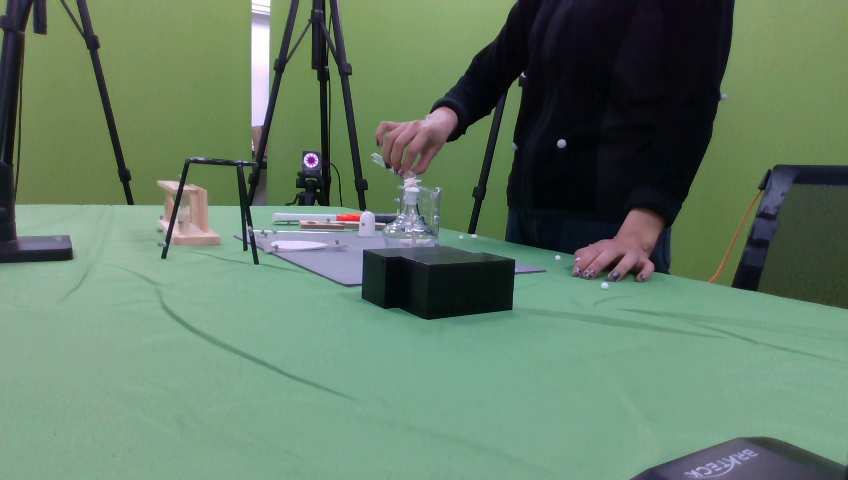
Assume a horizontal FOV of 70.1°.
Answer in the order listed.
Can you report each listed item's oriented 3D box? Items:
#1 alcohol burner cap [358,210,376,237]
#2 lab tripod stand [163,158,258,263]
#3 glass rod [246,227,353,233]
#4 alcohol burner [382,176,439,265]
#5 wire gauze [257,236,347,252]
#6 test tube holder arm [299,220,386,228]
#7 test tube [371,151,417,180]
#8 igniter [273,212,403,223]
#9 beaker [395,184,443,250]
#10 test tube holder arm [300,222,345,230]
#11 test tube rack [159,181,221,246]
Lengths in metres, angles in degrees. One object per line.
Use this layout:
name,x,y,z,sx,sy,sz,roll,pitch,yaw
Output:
alcohol burner cap,-0.104,-0.030,1.098,0.034,0.048,0.034,2,7,0
lab tripod stand,-0.265,-0.041,0.802,0.148,0.131,0.148,4,7,0
glass rod,-0.224,-0.017,1.109,0.201,0.008,0.008,1,7,-27
alcohol burner,-0.018,-0.026,0.818,0.078,0.119,0.078,3,9,0
wire gauze,-0.189,0.005,0.931,0.122,0.011,0.124,1,7,-21
test tube holder arm,-0.158,-0.031,1.195,0.179,0.015,0.013,-1,42,-29
test tube,-0.055,-0.130,1.044,0.017,0.017,0.149,-2,22,-32
igniter,-0.179,-0.048,1.290,0.278,0.025,0.057,-1,-2,-24
beaker,-0.007,-0.037,0.964,0.074,0.100,0.083,-4,11,-40
test tube holder arm,-0.196,-0.027,1.170,0.088,0.015,0.010,-1,42,-28
test tube rack,-0.395,-0.050,1.010,0.067,0.085,0.241,-2,8,-28
